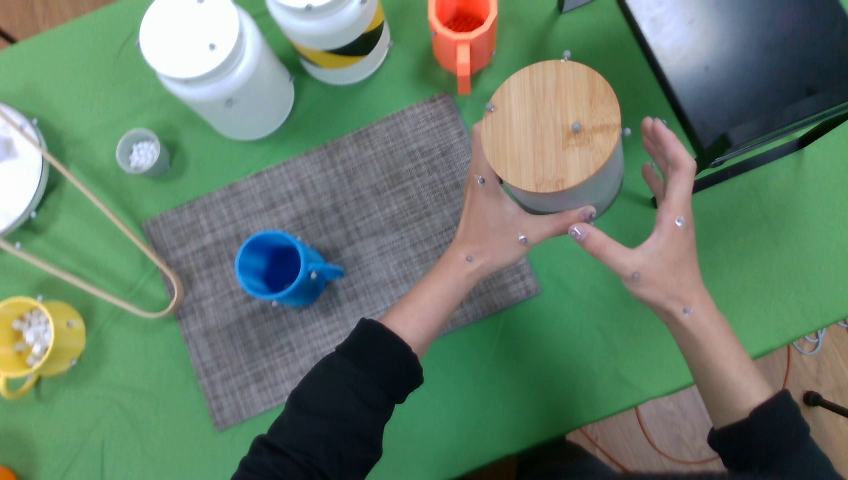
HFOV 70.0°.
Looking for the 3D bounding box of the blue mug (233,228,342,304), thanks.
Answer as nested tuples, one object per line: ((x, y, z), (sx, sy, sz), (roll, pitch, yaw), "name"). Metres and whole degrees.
((-0.159, 0.035, 0.745), (0.116, 0.106, 0.082), (2, 80, 5), "blue mug")

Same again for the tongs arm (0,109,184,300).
((-0.455, -0.062, 0.803), (0.387, 0.028, 0.028), (43, 77, 3), "tongs arm")

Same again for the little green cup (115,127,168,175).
((-0.381, -0.118, 0.823), (0.061, 0.039, 0.061), (-1, 81, 4), "little green cup")

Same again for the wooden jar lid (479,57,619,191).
((0.098, -0.090, 0.479), (0.108, 0.021, 0.108), (-4, 78, 20), "wooden jar lid")

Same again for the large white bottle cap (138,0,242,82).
((-0.260, -0.232, 0.672), (0.115, 0.018, 0.114), (-1, 81, 5), "large white bottle cap")

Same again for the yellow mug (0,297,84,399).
((-0.509, 0.140, 0.777), (0.100, 0.064, 0.130), (15, 83, 6), "yellow mug")

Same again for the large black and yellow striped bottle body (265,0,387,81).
((-0.122, -0.295, 0.760), (0.131, 0.185, 0.130), (-1, 80, 5), "large black and yellow striped bottle body")

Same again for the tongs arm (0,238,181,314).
((-0.501, 0.007, 0.792), (0.385, 0.026, 0.050), (29, 80, 1), "tongs arm")

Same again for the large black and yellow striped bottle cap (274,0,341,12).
((-0.130, -0.311, 0.677), (0.115, 0.019, 0.114), (0, 81, 3), "large black and yellow striped bottle cap")

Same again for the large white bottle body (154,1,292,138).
((-0.253, -0.218, 0.756), (0.130, 0.185, 0.130), (-1, 80, 4), "large white bottle body")

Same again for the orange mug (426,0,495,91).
((0.049, -0.264, 0.786), (0.083, 0.101, 0.125), (-1, 76, 5), "orange mug")

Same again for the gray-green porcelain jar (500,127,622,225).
((0.119, -0.075, 0.535), (0.105, 0.127, 0.105), (-5, 75, 19), "gray-green porcelain jar")

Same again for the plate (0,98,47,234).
((-0.616, -0.096, 0.837), (0.207, 0.039, 0.207), (-1, 81, 4), "plate")
